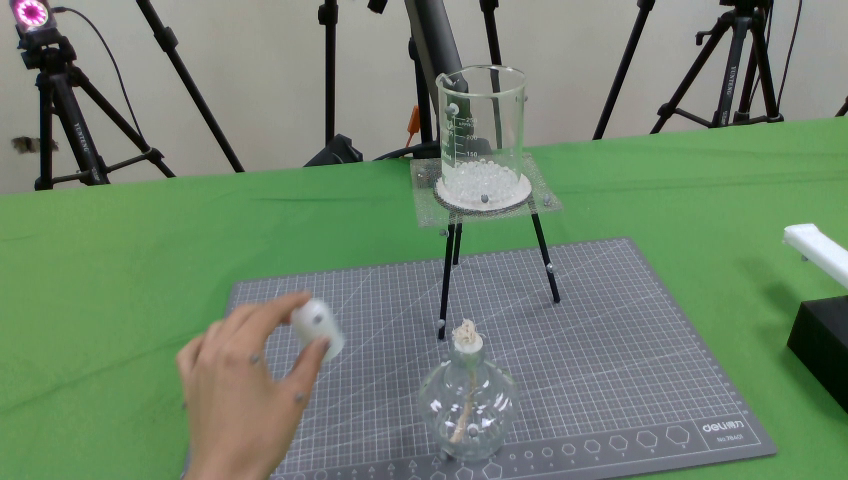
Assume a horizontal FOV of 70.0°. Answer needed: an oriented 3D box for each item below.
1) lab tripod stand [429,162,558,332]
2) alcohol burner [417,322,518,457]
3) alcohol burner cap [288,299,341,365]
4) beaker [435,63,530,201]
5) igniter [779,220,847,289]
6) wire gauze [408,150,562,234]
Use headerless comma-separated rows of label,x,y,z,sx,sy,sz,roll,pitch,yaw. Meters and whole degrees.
lab tripod stand,0.058,0.002,0.581,0.148,0.132,0.147,-2,33,2
alcohol burner,0.032,0.105,0.451,0.078,0.120,0.077,-2,36,2
alcohol burner cap,-0.081,0.064,0.439,0.034,0.048,0.033,-6,40,5
beaker,0.046,-0.091,0.515,0.074,0.101,0.083,-27,40,-31
igniter,0.381,0.057,0.480,0.057,0.025,0.274,-8,31,-3
wire gauze,0.049,-0.050,0.542,0.121,0.011,0.124,-6,36,-2
